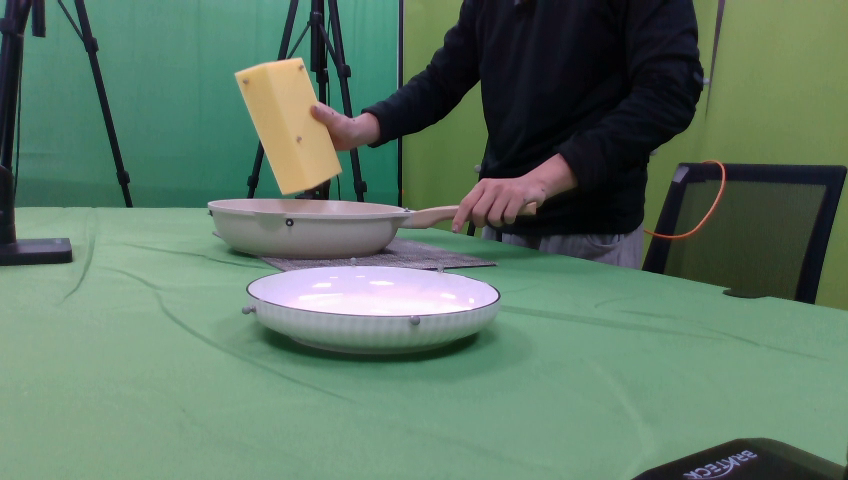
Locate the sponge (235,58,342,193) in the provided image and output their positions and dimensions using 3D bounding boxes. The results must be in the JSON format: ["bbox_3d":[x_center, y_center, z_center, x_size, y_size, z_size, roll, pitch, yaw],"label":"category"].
[{"bbox_3d":[-0.226,-0.197,1.032,0.060,0.207,0.118,-12,17,24],"label":"sponge"}]

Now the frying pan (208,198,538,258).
[{"bbox_3d":[-0.075,-0.033,0.912,0.487,0.102,0.307,-5,7,12],"label":"frying pan"}]

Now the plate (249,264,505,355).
[{"bbox_3d":[-0.037,0.056,0.504,0.208,0.039,0.207,2,7,0],"label":"plate"}]
